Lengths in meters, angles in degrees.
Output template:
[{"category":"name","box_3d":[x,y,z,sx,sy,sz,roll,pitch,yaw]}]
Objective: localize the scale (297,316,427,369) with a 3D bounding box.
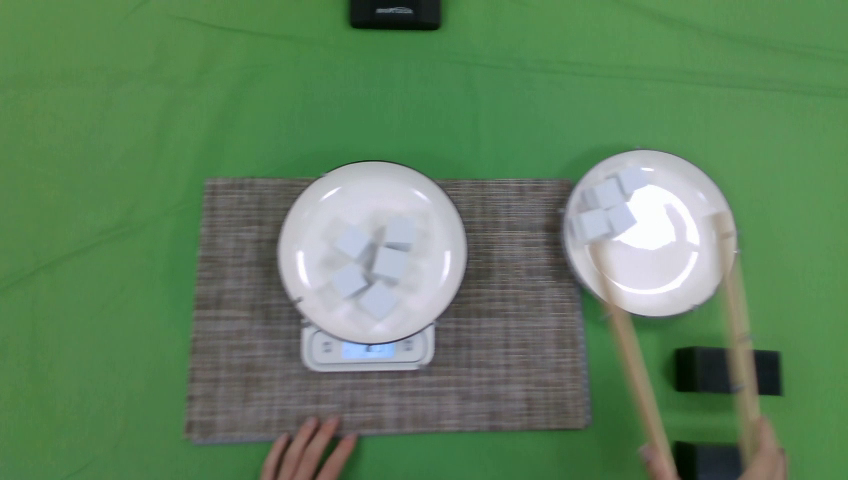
[{"category":"scale","box_3d":[-0.071,0.046,0.701,0.149,0.031,0.200,0,78,-4]}]

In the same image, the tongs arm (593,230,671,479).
[{"category":"tongs arm","box_3d":[0.216,0.175,0.555,0.028,0.027,0.388,-19,95,-14]}]

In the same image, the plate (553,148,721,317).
[{"category":"plate","box_3d":[0.256,-0.008,0.737,0.208,0.039,0.206,1,77,-4]}]

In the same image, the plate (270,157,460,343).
[{"category":"plate","box_3d":[-0.064,0.011,0.676,0.209,0.038,0.208,1,78,-4]}]

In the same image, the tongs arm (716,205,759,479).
[{"category":"tongs arm","box_3d":[0.283,0.161,0.566,0.051,0.026,0.385,-9,94,-11]}]
